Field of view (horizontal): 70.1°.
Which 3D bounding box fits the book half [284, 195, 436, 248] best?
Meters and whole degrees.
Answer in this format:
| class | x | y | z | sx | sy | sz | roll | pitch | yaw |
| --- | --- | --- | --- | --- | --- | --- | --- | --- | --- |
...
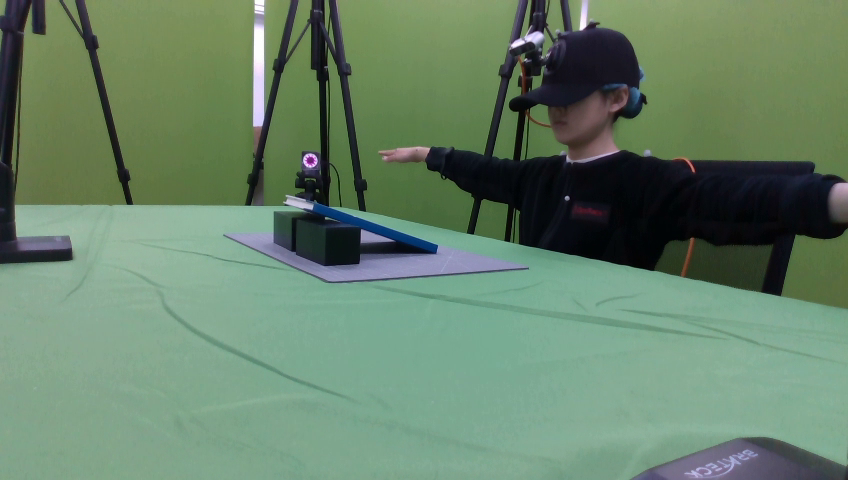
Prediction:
| class | x | y | z | sx | sy | sz | roll | pitch | yaw |
| --- | --- | --- | --- | --- | --- | --- | --- | --- | --- |
| book half | -0.100 | -0.028 | 0.934 | 0.211 | 0.007 | 0.142 | 19 | -1 | -29 |
